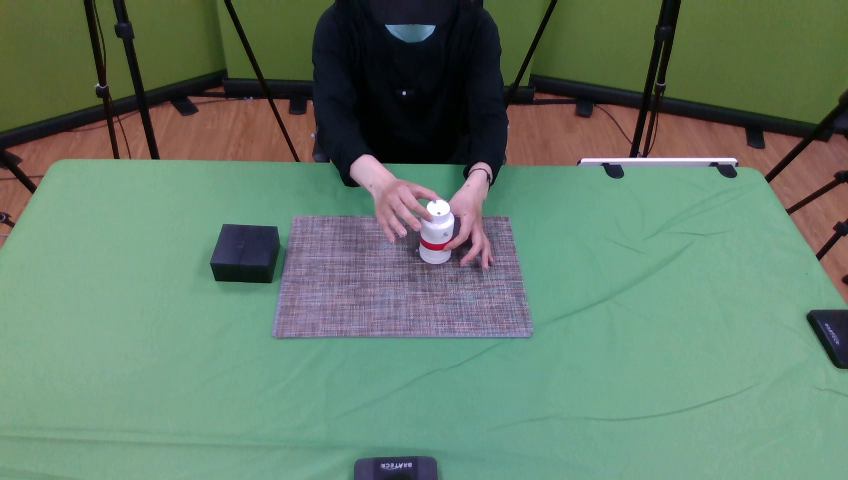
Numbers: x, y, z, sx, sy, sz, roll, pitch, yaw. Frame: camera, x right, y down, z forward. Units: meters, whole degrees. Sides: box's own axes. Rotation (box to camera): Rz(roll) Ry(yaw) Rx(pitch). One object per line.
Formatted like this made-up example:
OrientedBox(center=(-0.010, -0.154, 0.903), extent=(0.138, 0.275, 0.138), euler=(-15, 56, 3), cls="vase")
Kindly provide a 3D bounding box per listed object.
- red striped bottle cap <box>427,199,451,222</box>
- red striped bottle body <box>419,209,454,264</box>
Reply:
OrientedBox(center=(0.027, -0.054, 1.100), extent=(0.044, 0.018, 0.044), euler=(-2, 46, 2), cls="red striped bottle cap")
OrientedBox(center=(0.024, -0.016, 1.138), extent=(0.063, 0.120, 0.062), euler=(2, 45, -2), cls="red striped bottle body")
